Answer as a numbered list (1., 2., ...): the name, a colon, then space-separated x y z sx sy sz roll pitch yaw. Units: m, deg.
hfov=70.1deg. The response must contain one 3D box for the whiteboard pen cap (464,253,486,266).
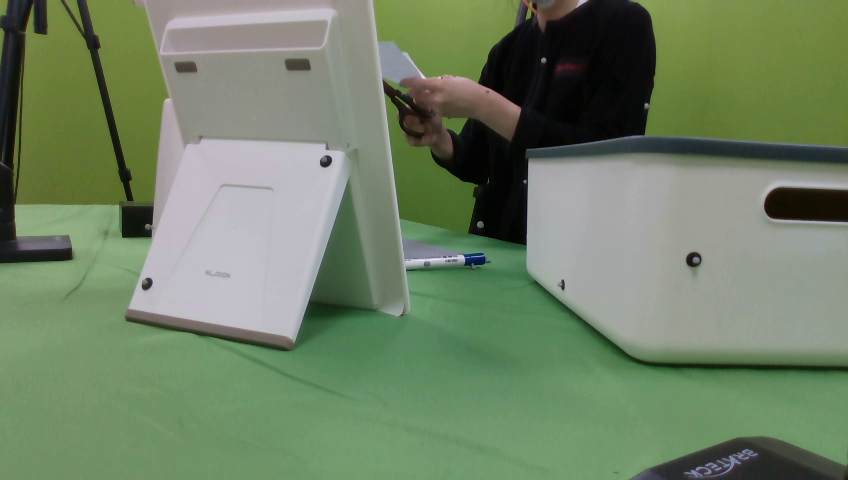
1. whiteboard pen cap: 0.066 0.027 0.818 0.033 0.018 0.018 -6 10 -24

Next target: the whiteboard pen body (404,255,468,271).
1. whiteboard pen body: 0.013 0.030 0.792 0.141 0.017 0.017 -3 9 -24

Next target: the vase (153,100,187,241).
1. vase: -0.278 -0.066 0.736 0.098 0.200 0.098 2 9 0

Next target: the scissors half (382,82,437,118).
1. scissors half: -0.046 -0.258 1.037 0.176 0.040 0.013 20 -13 -35

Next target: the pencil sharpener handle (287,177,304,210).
1. pencil sharpener handle: -0.269 -0.096 1.257 0.036 0.067 0.030 -8 8 -27

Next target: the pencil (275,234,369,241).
1. pencil: -0.169 -0.006 1.036 0.195 0.012 0.012 -2 8 -45

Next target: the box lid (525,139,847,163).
1. box lid: 0.261 -0.078 0.580 0.264 0.015 0.371 2 7 -4

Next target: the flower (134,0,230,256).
1. flower: -0.282 -0.147 0.713 0.038 0.362 0.044 -23 24 -31

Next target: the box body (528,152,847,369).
1. box body: 0.258 -0.005 0.591 0.254 0.160 0.363 2 7 -4

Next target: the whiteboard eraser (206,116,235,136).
1. whiteboard eraser: -0.450 -0.252 1.335 0.056 0.042 0.112 1 7 -22

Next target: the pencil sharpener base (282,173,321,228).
1. pencil sharpener base: -0.247 -0.080 1.212 0.061 0.107 0.076 -2 5 -28

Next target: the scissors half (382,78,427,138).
1. scissors half: -0.055 -0.239 1.031 0.176 0.040 0.012 47 -23 -27

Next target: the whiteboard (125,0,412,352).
1. whiteboard: -0.151 -0.049 0.472 0.216 0.305 0.144 6 27 24
